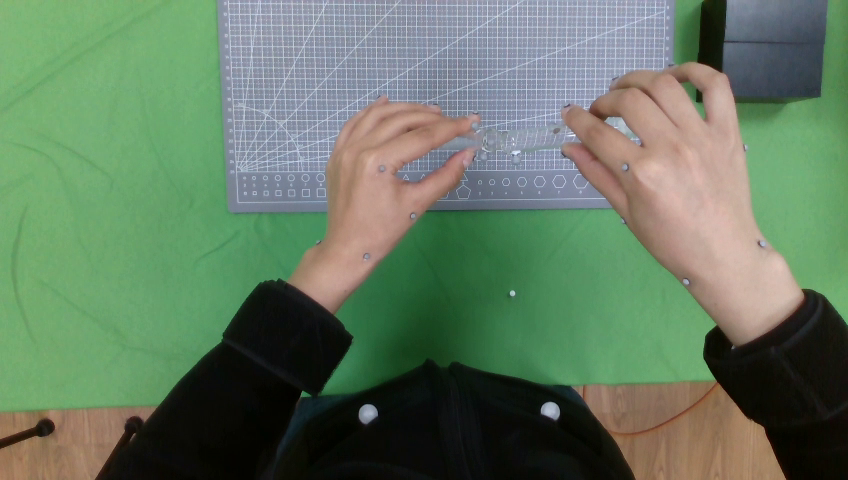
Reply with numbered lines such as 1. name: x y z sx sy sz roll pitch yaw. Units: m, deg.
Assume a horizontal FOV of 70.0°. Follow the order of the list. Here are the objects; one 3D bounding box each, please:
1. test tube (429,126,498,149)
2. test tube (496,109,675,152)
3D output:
1. test tube: 0.027 -0.081 0.479 0.017 0.149 0.017 -2 100 -12
2. test tube: 0.117 -0.078 0.423 0.151 0.017 0.017 -11 97 -23
